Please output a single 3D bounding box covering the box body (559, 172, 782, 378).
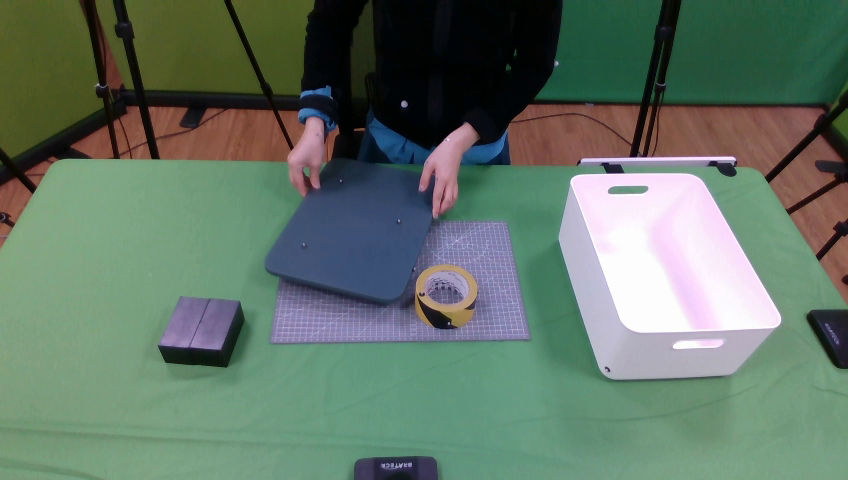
[{"bbox_3d":[0.404,0.057,1.074,0.254,0.161,0.361,-2,46,-5],"label":"box body"}]

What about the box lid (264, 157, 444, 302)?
[{"bbox_3d":[-0.124,-0.036,1.184,0.263,0.015,0.369,12,44,8],"label":"box lid"}]

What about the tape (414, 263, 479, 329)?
[{"bbox_3d":[0.038,0.099,1.079,0.117,0.053,0.116,3,46,-2],"label":"tape"}]
